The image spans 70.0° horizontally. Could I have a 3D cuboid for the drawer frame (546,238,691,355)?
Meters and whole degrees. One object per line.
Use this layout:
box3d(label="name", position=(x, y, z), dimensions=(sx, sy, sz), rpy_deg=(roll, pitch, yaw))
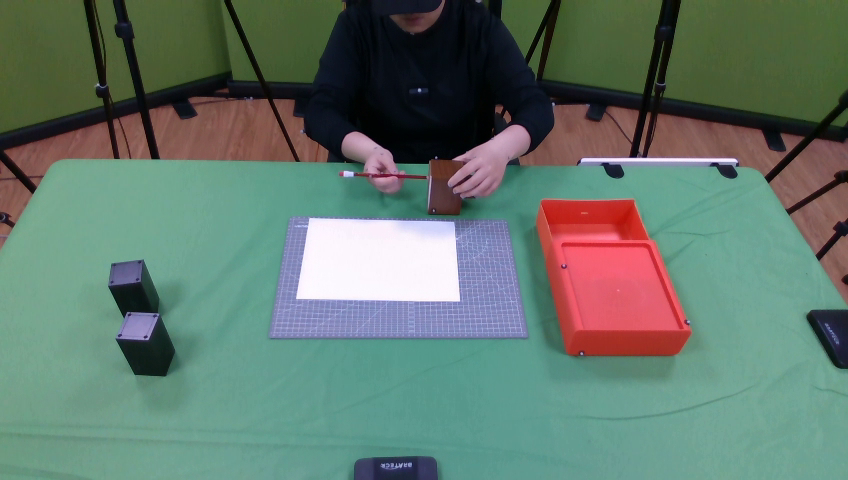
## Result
box3d(label="drawer frame", position=(0.338, 0.097, 1.086), dimensions=(0.202, 0.083, 0.212), rpy_deg=(0, 46, -4))

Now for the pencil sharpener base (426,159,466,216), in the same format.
box3d(label="pencil sharpener base", position=(0.044, -0.106, 1.246), dimensions=(0.077, 0.107, 0.061), rpy_deg=(2, 45, -3))

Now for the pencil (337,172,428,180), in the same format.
box3d(label="pencil", position=(-0.076, -0.128, 1.215), dimensions=(0.194, 0.012, 0.012), rpy_deg=(2, 45, -5))

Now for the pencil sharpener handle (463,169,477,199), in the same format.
box3d(label="pencil sharpener handle", position=(0.096, -0.112, 1.239), dimensions=(0.031, 0.068, 0.036), rpy_deg=(2, 40, -3))

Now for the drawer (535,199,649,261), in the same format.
box3d(label="drawer", position=(0.332, 0.015, 1.169), dimensions=(0.195, 0.073, 0.210), rpy_deg=(0, 46, -5))
